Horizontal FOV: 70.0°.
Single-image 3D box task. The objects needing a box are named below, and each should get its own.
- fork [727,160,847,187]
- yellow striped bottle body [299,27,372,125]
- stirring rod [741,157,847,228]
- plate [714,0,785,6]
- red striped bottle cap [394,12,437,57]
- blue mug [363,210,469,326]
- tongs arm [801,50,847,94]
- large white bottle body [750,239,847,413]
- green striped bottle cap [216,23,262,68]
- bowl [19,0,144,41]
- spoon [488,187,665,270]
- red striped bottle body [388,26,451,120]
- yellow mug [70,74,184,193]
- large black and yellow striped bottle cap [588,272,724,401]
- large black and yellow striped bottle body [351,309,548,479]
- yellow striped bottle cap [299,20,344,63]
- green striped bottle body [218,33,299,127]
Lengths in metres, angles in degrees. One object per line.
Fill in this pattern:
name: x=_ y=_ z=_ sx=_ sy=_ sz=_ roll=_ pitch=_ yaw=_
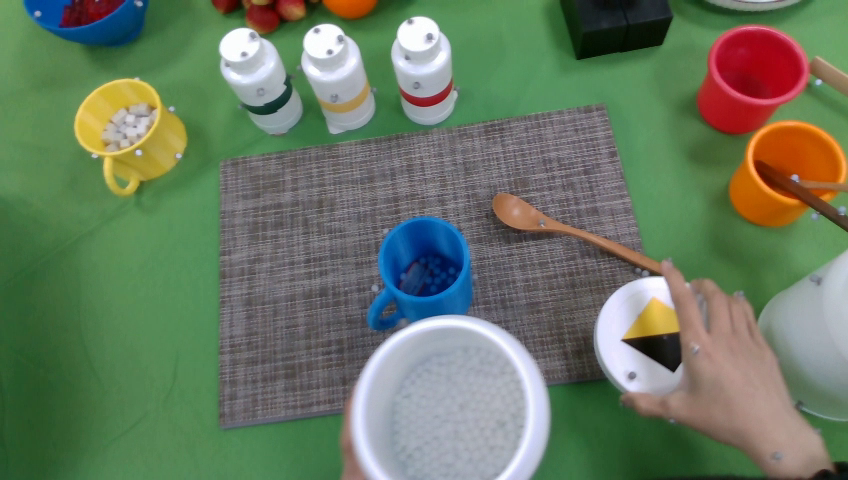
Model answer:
fork: x=0.377 y=-0.052 z=0.559 sx=0.028 sy=0.019 sz=0.205 roll=-35 pitch=26 yaw=-16
yellow striped bottle body: x=-0.098 y=-0.185 z=0.666 sx=0.063 sy=0.121 sz=0.062 roll=-2 pitch=69 yaw=5
stirring rod: x=0.347 y=-0.049 z=0.569 sx=0.014 sy=0.006 sz=0.174 roll=-5 pitch=26 yaw=0
plate: x=0.385 y=-0.364 z=0.732 sx=0.209 sy=0.038 sz=0.207 roll=-1 pitch=70 yaw=4
red striped bottle cap: x=-0.009 y=-0.207 z=0.610 sx=0.044 sy=0.018 sz=0.044 roll=0 pitch=68 yaw=1
blue mug: x=-0.011 y=0.040 z=0.580 sx=0.116 sy=0.106 sz=0.082 roll=-40 pitch=71 yaw=-9
tongs arm: x=0.571 y=-0.093 z=0.618 sx=0.050 sy=0.027 sz=0.382 roll=-43 pitch=73 yaw=-14
large white bottle body: x=0.369 y=0.067 z=0.497 sx=0.130 sy=0.186 sz=0.129 roll=-2 pitch=69 yaw=5
green striped bottle cap: x=-0.191 y=-0.201 z=0.624 sx=0.044 sy=0.020 sz=0.044 roll=-1 pitch=69 yaw=3
bowl: x=-0.411 y=-0.306 z=0.760 sx=0.151 sy=0.077 sz=0.150 roll=-1 pitch=70 yaw=4
spoon: x=0.157 y=-0.010 z=0.627 sx=0.193 sy=0.022 sz=0.041 roll=22 pitch=52 yaw=12
red striped bottle body: x=-0.004 y=-0.188 z=0.660 sx=0.063 sy=0.120 sz=0.062 roll=-2 pitch=69 yaw=5
yellow mug: x=-0.340 y=-0.116 z=0.691 sx=0.100 sy=0.064 sz=0.130 roll=1 pitch=71 yaw=6
large black and yellow striped bottle cap: x=0.206 y=0.084 z=0.539 sx=0.115 sy=0.019 sz=0.114 roll=-1 pitch=67 yaw=3
large black and yellow striped bottle body: x=0.021 y=0.124 z=0.445 sx=0.130 sy=0.185 sz=0.130 roll=-2 pitch=72 yaw=6
yellow striped bottle cap: x=-0.104 y=-0.203 z=0.617 sx=0.044 sy=0.019 sz=0.044 roll=0 pitch=66 yaw=1
green striped bottle body: x=-0.185 y=-0.182 z=0.673 sx=0.063 sy=0.120 sz=0.063 roll=-1 pitch=69 yaw=4
